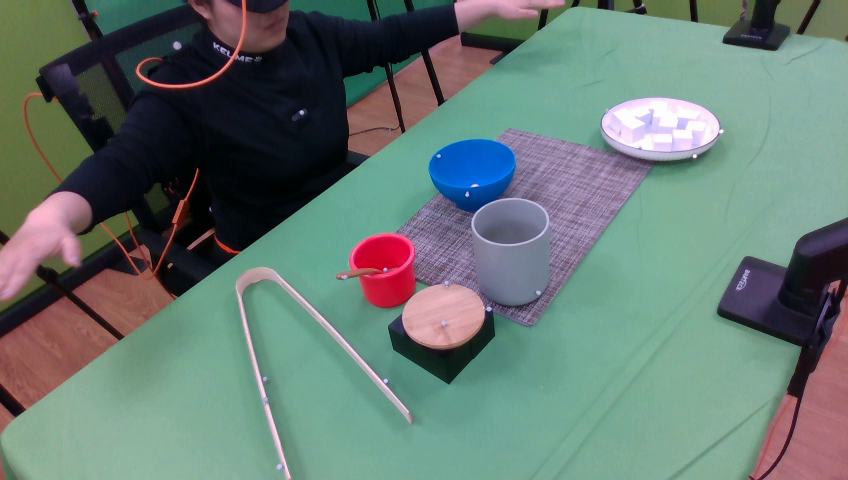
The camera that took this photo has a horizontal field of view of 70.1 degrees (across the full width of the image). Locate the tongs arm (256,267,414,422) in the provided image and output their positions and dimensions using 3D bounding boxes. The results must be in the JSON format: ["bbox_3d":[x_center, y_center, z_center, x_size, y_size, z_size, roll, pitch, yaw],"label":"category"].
[{"bbox_3d":[-0.137,0.132,0.853,0.028,0.028,0.384,-34,45,-23],"label":"tongs arm"}]

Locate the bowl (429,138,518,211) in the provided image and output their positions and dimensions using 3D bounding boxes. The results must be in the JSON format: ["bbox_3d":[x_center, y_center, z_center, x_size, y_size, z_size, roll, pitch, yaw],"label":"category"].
[{"bbox_3d":[0.087,-0.104,1.043,0.151,0.077,0.150,-5,40,5],"label":"bowl"}]

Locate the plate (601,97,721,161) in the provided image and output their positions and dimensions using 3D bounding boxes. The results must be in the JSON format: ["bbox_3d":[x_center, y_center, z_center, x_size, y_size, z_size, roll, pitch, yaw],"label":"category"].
[{"bbox_3d":[0.436,-0.203,1.126,0.209,0.038,0.208,-5,39,5],"label":"plate"}]

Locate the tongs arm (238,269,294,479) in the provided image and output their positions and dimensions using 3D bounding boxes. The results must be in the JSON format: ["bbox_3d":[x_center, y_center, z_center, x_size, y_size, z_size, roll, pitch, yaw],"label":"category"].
[{"bbox_3d":[-0.208,0.163,0.824,0.051,0.026,0.381,-22,40,-15],"label":"tongs arm"}]

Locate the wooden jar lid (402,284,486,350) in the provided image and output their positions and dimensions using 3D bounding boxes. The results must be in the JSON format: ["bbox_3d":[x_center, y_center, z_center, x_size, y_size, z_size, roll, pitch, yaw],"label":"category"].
[{"bbox_3d":[0.026,0.101,0.786,0.108,0.021,0.108,-5,39,4],"label":"wooden jar lid"}]

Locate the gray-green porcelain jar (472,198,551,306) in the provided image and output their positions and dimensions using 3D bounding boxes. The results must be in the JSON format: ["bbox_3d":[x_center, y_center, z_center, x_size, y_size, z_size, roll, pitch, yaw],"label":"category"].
[{"bbox_3d":[0.125,0.021,0.850,0.106,0.127,0.105,-6,40,5],"label":"gray-green porcelain jar"}]

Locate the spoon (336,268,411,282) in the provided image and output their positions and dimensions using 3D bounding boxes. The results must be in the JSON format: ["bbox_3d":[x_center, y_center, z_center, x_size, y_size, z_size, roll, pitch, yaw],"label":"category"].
[{"bbox_3d":[-0.071,0.047,0.850,0.041,0.195,0.021,18,93,24],"label":"spoon"}]
